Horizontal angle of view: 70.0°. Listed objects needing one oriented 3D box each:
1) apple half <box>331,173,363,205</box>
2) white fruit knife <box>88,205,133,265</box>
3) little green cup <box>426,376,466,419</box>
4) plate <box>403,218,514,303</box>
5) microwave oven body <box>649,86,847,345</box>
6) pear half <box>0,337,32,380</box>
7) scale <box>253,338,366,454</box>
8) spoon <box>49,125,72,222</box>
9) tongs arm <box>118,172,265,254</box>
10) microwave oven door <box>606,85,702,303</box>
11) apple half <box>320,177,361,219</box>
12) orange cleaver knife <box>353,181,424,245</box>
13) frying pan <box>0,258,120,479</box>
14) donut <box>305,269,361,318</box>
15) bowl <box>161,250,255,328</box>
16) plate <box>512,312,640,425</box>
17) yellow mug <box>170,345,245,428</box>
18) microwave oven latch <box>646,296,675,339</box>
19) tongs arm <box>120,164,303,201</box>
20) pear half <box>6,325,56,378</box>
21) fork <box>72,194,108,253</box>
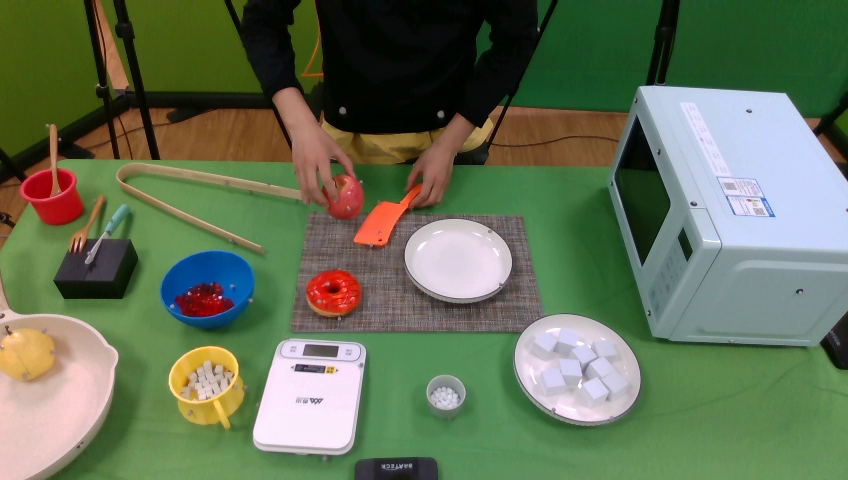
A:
[{"bbox_3d":[-0.139,-0.097,1.148,0.081,0.082,0.033,30,62,23],"label":"apple half"},{"bbox_3d":[-0.584,-0.013,1.129,0.016,0.027,0.206,-1,32,-5],"label":"white fruit knife"},{"bbox_3d":[0.033,0.248,0.950,0.061,0.039,0.061,2,46,-2],"label":"little green cup"},{"bbox_3d":[0.064,0.042,1.146,0.209,0.038,0.208,2,46,-2],"label":"plate"},{"bbox_3d":[0.567,-0.053,1.118,0.326,0.261,0.439,2,45,-1],"label":"microwave oven body"},{"bbox_3d":[-0.631,0.184,0.921,0.070,0.088,0.031,29,49,19],"label":"pear half"},{"bbox_3d":[-0.175,0.236,0.951,0.149,0.032,0.199,4,45,0],"label":"scale"},{"bbox_3d":[-0.718,-0.131,1.189,0.041,0.021,0.193,-4,90,-7],"label":"spoon"},{"bbox_3d":[-0.473,-0.054,1.210,0.386,0.028,0.028,23,56,17],"label":"tongs arm"},{"bbox_3d":[0.422,-0.094,1.140,0.039,0.245,0.353,2,46,-1],"label":"microwave oven door"},{"bbox_3d":[-0.162,-0.072,1.130,0.080,0.075,0.053,29,62,26],"label":"apple half"},{"bbox_3d":[-0.070,-0.059,1.245,0.077,0.012,0.210,17,49,22],"label":"orange cleaver knife"},{"bbox_3d":[-0.647,0.164,0.936,0.307,0.103,0.485,-19,58,-22],"label":"frying pan"},{"bbox_3d":[-0.160,0.094,1.075,0.099,0.048,0.098,3,45,-3],"label":"donut"},{"bbox_3d":[-0.362,0.098,1.040,0.151,0.077,0.150,2,45,-2],"label":"bowl"},{"bbox_3d":[0.246,0.213,0.999,0.208,0.039,0.206,2,46,-2],"label":"plate"},{"bbox_3d":[-0.322,0.230,0.922,0.100,0.064,0.130,-24,53,-25],"label":"yellow mug"},{"bbox_3d":[0.412,0.134,1.061,0.030,0.029,0.078,4,45,1],"label":"microwave oven latch"},{"bbox_3d":[-0.444,-0.114,1.266,0.384,0.026,0.050,12,50,7],"label":"tongs arm"},{"bbox_3d":[-0.608,0.158,0.935,0.076,0.110,0.056,31,51,20],"label":"pear half"},{"bbox_3d":[-0.634,-0.036,1.158,0.028,0.019,0.206,-8,32,-8],"label":"fork"}]
